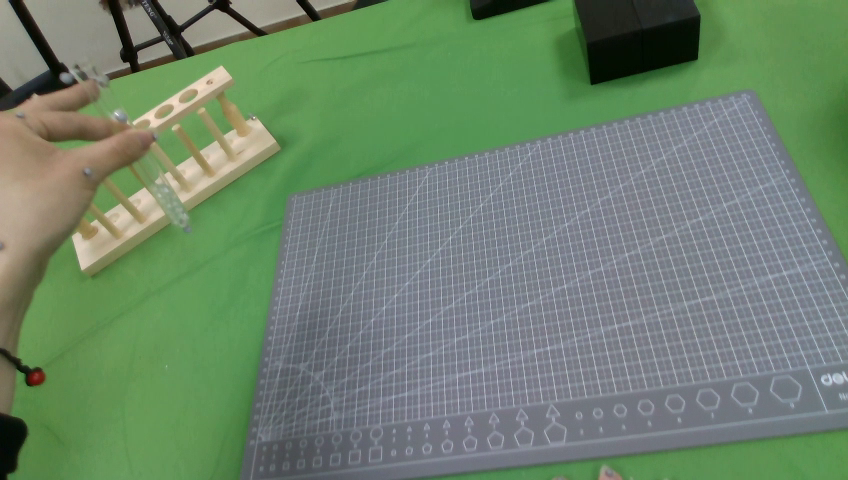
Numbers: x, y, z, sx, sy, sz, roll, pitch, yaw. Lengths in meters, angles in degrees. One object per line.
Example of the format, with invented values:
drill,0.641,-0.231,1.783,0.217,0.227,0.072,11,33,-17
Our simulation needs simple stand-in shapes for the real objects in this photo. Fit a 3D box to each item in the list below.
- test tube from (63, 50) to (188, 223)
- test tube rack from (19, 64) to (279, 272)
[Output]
test tube,-0.204,-0.065,0.427,0.017,0.152,0.017,-5,49,6
test tube rack,-0.287,-0.077,0.646,0.242,0.086,0.066,-36,51,-8
